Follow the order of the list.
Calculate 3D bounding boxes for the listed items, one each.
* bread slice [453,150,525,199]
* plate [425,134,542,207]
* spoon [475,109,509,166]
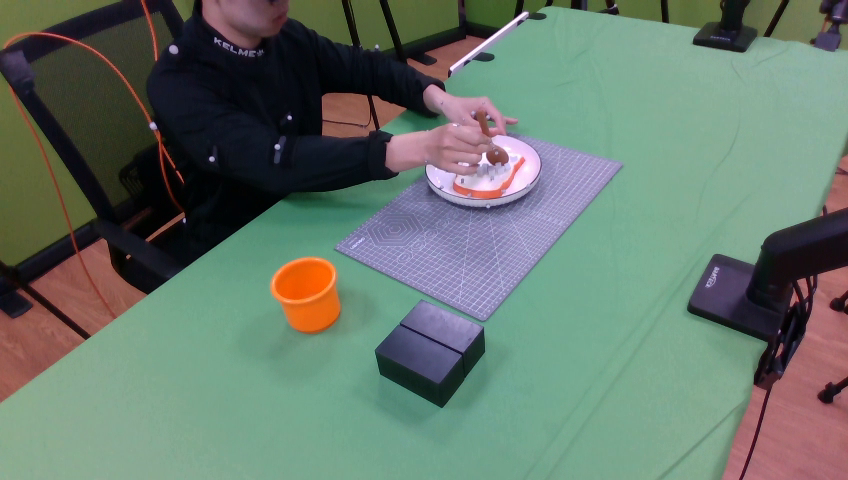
[{"bbox_3d":[0.112,-0.119,1.079,0.104,0.019,0.131,12,43,21],"label":"bread slice"},{"bbox_3d":[0.105,-0.121,1.079,0.209,0.038,0.208,-4,40,4],"label":"plate"},{"bbox_3d":[0.108,-0.163,0.984,0.041,0.195,0.021,6,79,17],"label":"spoon"}]
